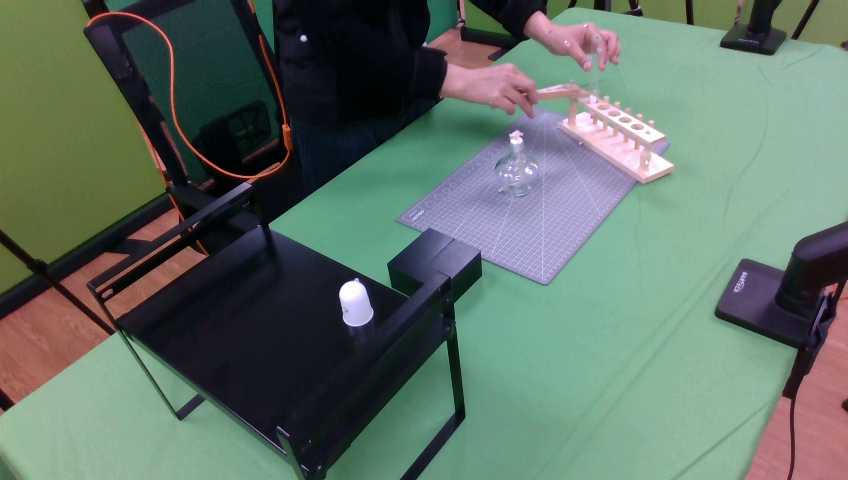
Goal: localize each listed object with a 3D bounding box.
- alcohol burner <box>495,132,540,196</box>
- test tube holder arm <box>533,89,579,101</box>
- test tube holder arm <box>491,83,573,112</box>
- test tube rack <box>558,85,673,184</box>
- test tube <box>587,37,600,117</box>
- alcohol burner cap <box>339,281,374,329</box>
[{"bbox_3d":[0.160,-0.135,1.035,0.078,0.119,0.077,-5,42,5],"label":"alcohol burner"},{"bbox_3d":[0.236,-0.260,1.084,0.088,0.015,0.010,-7,45,-12],"label":"test tube holder arm"},{"bbox_3d":[0.193,-0.254,1.072,0.179,0.015,0.013,-19,47,-23],"label":"test tube holder arm"},{"bbox_3d":[0.347,-0.203,1.109,0.067,0.085,0.240,-22,42,-17],"label":"test tube rack"},{"bbox_3d":[0.302,-0.287,1.078,0.017,0.151,0.017,-6,40,5],"label":"test tube"},{"bbox_3d":[-0.071,0.063,0.617,0.034,0.048,0.033,-4,39,4],"label":"alcohol burner cap"}]
